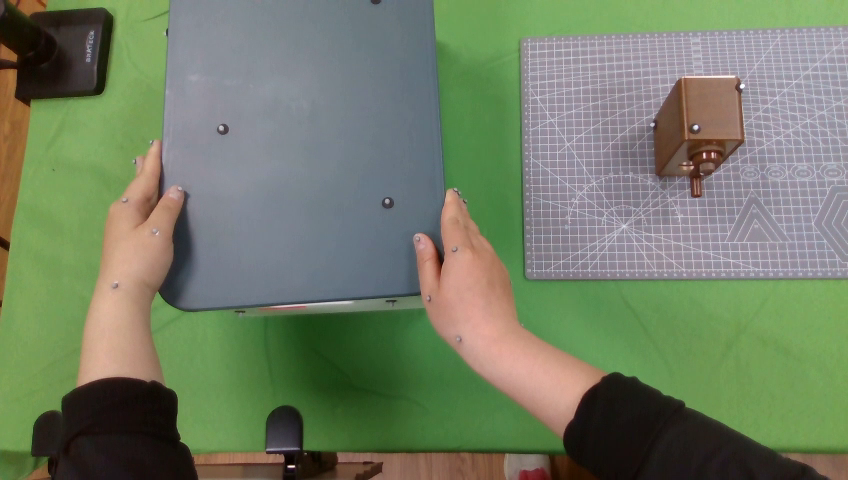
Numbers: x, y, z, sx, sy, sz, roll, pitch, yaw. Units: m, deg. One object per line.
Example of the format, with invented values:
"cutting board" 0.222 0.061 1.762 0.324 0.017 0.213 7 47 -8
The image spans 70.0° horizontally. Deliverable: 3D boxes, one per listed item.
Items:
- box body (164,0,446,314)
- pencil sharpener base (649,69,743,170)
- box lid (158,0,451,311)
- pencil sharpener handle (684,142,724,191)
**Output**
"box body" -0.109 -0.105 0.647 0.254 0.161 0.362 -4 77 4
"pencil sharpener base" 0.282 -0.120 0.637 0.061 0.107 0.076 0 77 5
"box lid" -0.116 -0.126 0.568 0.263 0.015 0.369 -5 77 3
"pencil sharpener handle" 0.282 -0.073 0.614 0.036 0.068 0.030 -1 77 12
